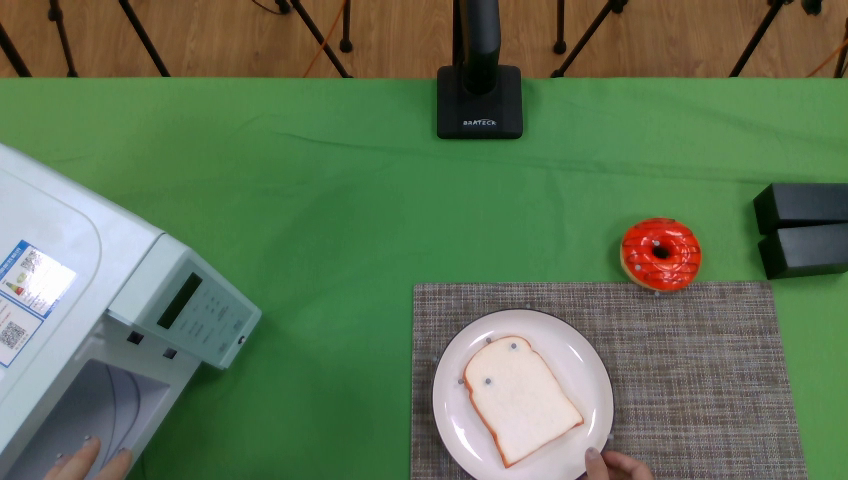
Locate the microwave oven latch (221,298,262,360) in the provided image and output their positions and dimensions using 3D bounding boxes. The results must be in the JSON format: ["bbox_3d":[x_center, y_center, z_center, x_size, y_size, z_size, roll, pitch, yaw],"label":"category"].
[{"bbox_3d":[-0.225,0.101,0.723,0.030,0.030,0.079,29,74,10],"label":"microwave oven latch"}]

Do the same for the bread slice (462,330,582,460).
[{"bbox_3d":[0.106,0.173,0.706,0.105,0.019,0.130,-29,73,-10],"label":"bread slice"}]

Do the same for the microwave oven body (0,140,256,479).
[{"bbox_3d":[-0.442,0.151,0.607,0.325,0.262,0.440,27,74,10],"label":"microwave oven body"}]

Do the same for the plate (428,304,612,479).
[{"bbox_3d":[0.109,0.179,0.703,0.208,0.039,0.206,0,70,1],"label":"plate"}]

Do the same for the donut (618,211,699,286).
[{"bbox_3d":[0.293,0.011,0.759,0.099,0.048,0.098,-2,67,5],"label":"donut"}]
